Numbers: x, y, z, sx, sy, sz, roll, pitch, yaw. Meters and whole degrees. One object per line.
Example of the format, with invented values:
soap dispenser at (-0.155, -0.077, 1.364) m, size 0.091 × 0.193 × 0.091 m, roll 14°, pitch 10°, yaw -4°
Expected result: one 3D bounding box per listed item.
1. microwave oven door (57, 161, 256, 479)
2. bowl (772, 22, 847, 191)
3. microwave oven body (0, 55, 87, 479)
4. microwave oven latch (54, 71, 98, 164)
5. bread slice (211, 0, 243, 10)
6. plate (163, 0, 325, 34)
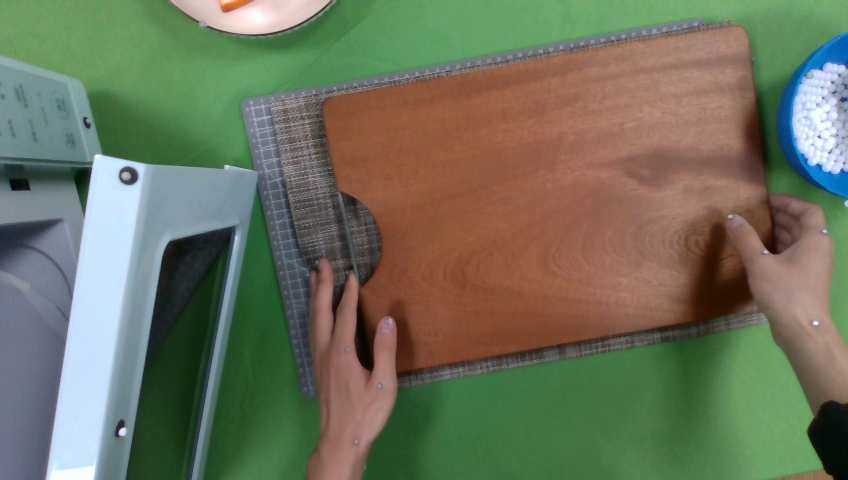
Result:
microwave oven door at (-0.206, 0.114, 0.472) m, size 0.039 × 0.243 × 0.356 m, roll 11°, pitch 96°, yaw -2°
bowl at (0.384, -0.119, 0.557) m, size 0.151 × 0.076 × 0.151 m, roll 0°, pitch 97°, yaw -1°
microwave oven body at (-0.427, 0.104, 0.470) m, size 0.326 × 0.259 × 0.442 m, roll -12°, pitch 97°, yaw 0°
microwave oven latch at (-0.321, -0.109, 0.543) m, size 0.030 × 0.029 × 0.079 m, roll -12°, pitch 98°, yaw -1°
bread slice at (-0.170, -0.289, 0.544) m, size 0.105 × 0.019 × 0.132 m, roll -25°, pitch 98°, yaw 0°
plate at (-0.162, -0.289, 0.544) m, size 0.208 × 0.039 × 0.208 m, roll 0°, pitch 97°, yaw -1°
